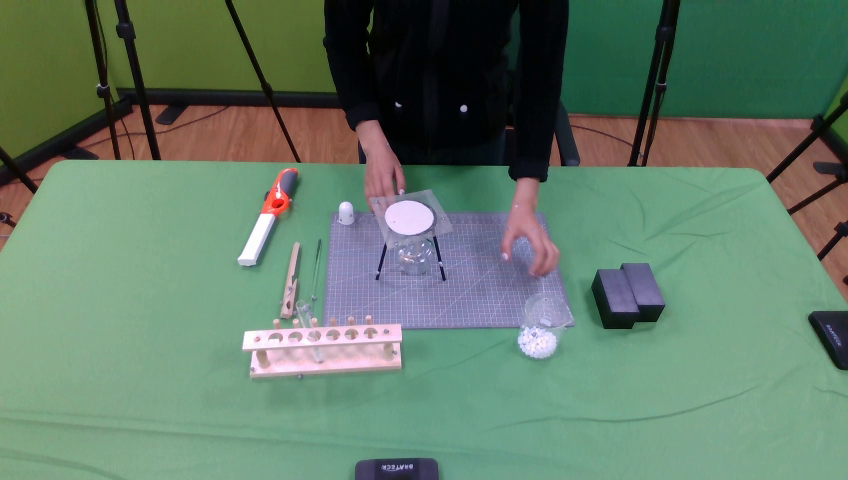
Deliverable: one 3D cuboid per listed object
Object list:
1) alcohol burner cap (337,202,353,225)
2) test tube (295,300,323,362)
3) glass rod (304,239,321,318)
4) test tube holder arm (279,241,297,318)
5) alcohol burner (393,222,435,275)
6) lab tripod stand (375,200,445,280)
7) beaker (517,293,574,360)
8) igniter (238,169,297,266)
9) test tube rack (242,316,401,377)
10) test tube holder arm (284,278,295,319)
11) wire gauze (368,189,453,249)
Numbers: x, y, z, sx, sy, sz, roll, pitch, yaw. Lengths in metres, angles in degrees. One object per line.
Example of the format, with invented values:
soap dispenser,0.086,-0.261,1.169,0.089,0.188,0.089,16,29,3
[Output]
alcohol burner cap,-0.161,-0.056,1.223,0.034,0.048,0.033,2,46,-2
test tube,-0.176,0.143,0.935,0.017,0.151,0.017,-2,46,2
glass rod,-0.207,0.068,1.127,0.008,0.008,0.198,2,43,-2
test tube holder arm,-0.249,0.069,1.113,0.013,0.015,0.177,25,38,-28
alcohol burner,-0.018,0.009,1.122,0.078,0.119,0.077,3,47,-3
lab tripod stand,-0.023,0.004,1.113,0.148,0.132,0.147,4,45,-3
beaker,0.200,0.149,1.018,0.084,0.101,0.073,14,47,8
igniter,-0.313,-0.055,1.224,0.057,0.025,0.275,1,45,10
test tube rack,-0.161,0.166,0.983,0.242,0.085,0.066,-2,46,-6
test tube holder arm,-0.242,0.103,1.085,0.010,0.015,0.087,26,38,-28
wire gauze,-0.025,-0.042,1.064,0.121,0.011,0.124,-11,49,-17
